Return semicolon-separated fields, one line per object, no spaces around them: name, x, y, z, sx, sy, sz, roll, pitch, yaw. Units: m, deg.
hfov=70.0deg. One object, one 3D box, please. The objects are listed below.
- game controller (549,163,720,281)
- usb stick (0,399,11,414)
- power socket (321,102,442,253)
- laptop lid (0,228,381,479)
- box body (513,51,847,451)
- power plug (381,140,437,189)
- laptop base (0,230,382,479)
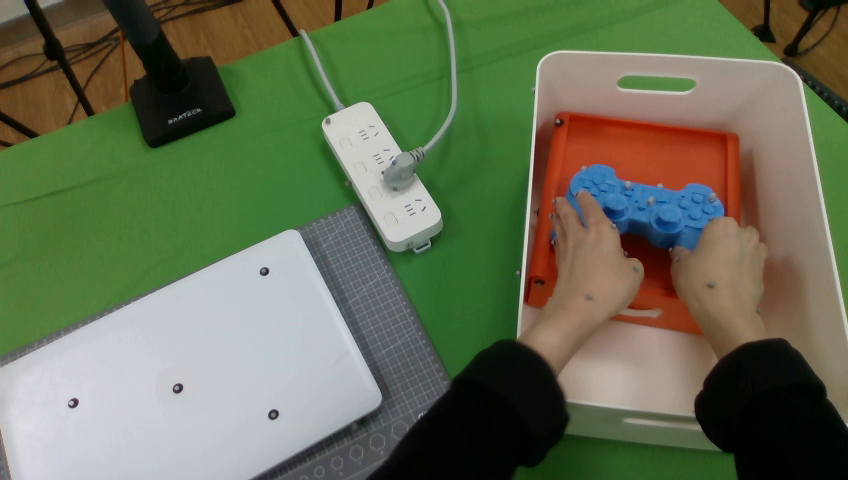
game controller;0.208;-0.025;0.590;0.154;0.052;0.096;15;57;15
usb stick;-0.455;0.178;0.617;0.059;0.027;0.021;-23;58;-12
power socket;-0.055;-0.081;0.735;0.072;0.033;0.224;-26;63;-11
laptop lid;-0.248;0.151;0.619;0.357;0.013;0.239;-26;66;-10
box body;0.221;0.007;0.596;0.254;0.162;0.361;5;62;6
power plug;-0.015;-0.080;0.706;0.072;0.053;0.035;-16;61;-6
laptop base;-0.248;0.154;0.630;0.354;0.023;0.233;-27;67;-11
